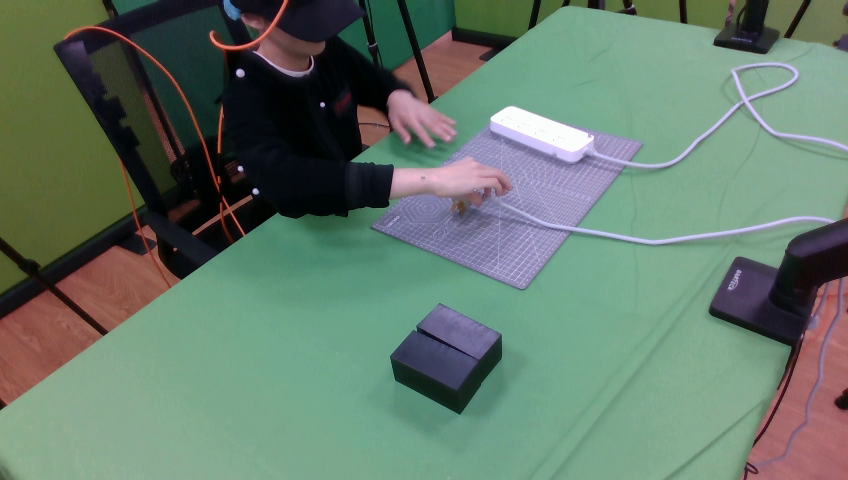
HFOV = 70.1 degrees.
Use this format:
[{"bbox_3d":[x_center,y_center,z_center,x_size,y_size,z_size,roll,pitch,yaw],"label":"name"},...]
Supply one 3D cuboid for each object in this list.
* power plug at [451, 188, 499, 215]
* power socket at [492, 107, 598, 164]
[{"bbox_3d":[0.080,-0.062,1.013,0.072,0.035,0.052,16,67,38],"label":"power plug"},{"bbox_3d":[0.227,-0.205,1.170,0.072,0.033,0.225,-36,48,-28],"label":"power socket"}]
